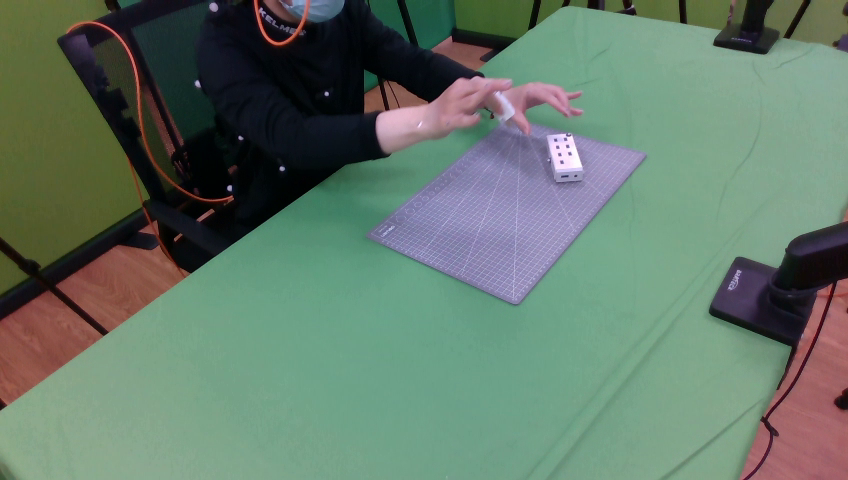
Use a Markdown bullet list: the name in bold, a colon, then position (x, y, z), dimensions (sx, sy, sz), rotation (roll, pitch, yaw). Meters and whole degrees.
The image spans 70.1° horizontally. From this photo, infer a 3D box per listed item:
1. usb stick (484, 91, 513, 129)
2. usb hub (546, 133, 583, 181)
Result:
- **usb stick**: position (0.121, -0.202, 0.948), dimensions (0.027, 0.059, 0.021), rotation (-34, 21, 19)
- **usb hub**: position (0.256, -0.152, 1.102), dimensions (0.049, 0.025, 0.124), rotation (-3, 41, 4)
